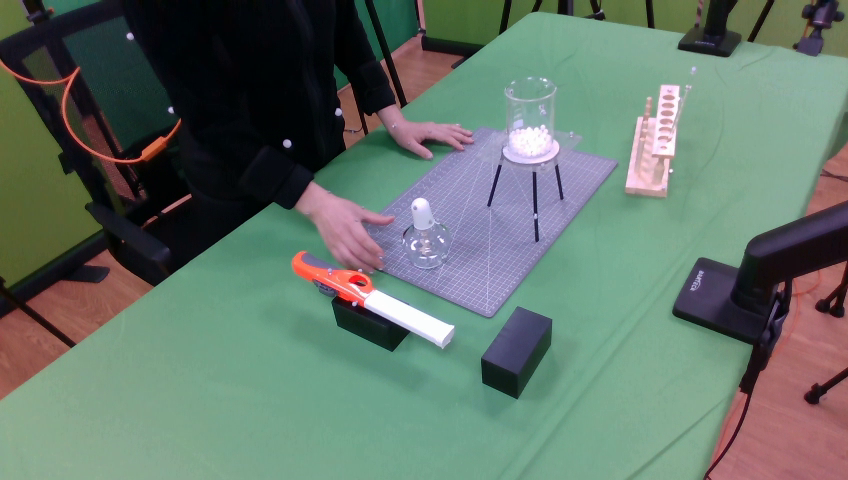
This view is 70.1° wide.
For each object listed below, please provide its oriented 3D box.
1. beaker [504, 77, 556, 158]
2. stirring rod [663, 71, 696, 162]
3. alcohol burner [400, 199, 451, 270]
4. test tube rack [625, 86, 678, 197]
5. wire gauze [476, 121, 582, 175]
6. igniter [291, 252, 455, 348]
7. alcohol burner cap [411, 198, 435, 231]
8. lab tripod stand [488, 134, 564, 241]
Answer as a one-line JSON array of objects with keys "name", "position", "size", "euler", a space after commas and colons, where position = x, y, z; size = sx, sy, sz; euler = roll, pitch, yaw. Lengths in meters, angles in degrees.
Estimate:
[{"name": "beaker", "position": [0.160, -0.181, 0.900], "size": [0.084, 0.101, 0.073], "euler": [-32, 46, -27]}, {"name": "stirring rod", "position": [0.410, -0.195, 0.981], "size": [0.014, 0.177, 0.006], "euler": [11, 50, 13]}, {"name": "alcohol burner", "position": [0.000, -0.013, 0.917], "size": [0.078, 0.119, 0.077], "euler": [-5, 41, 5]}, {"name": "test tube rack", "position": [0.412, -0.184, 1.088], "size": [0.066, 0.085, 0.242], "euler": [9, 43, 18]}, {"name": "wire gauze", "position": [0.162, -0.141, 0.929], "size": [0.120, 0.011, 0.125], "euler": [19, 49, 32]}, {"name": "igniter", "position": [-0.080, 0.076, 0.822], "size": [0.274, 0.025, 0.057], "euler": [23, 45, 27]}, {"name": "alcohol burner cap", "position": [-0.003, -0.040, 0.893], "size": [0.034, 0.048, 0.033], "euler": [-8, 41, 7]}, {"name": "lab tripod stand", "position": [0.168, -0.092, 0.972], "size": [0.148, 0.132, 0.147], "euler": [-5, 41, 5]}]
